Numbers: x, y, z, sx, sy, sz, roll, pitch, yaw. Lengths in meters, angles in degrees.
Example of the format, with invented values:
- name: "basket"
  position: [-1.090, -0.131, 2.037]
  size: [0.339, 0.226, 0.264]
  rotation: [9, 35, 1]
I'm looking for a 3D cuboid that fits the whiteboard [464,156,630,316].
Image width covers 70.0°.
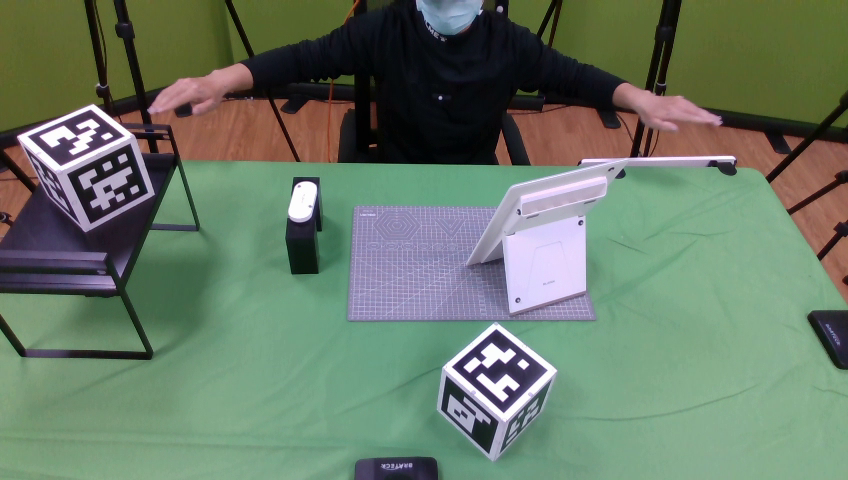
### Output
- name: "whiteboard"
  position: [0.224, 0.014, 1.041]
  size: [0.217, 0.306, 0.143]
  rotation: [-14, 68, -17]

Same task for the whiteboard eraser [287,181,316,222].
- name: "whiteboard eraser"
  position: [-0.224, -0.071, 1.111]
  size: [0.041, 0.019, 0.100]
  rotation: [3, 45, 0]
